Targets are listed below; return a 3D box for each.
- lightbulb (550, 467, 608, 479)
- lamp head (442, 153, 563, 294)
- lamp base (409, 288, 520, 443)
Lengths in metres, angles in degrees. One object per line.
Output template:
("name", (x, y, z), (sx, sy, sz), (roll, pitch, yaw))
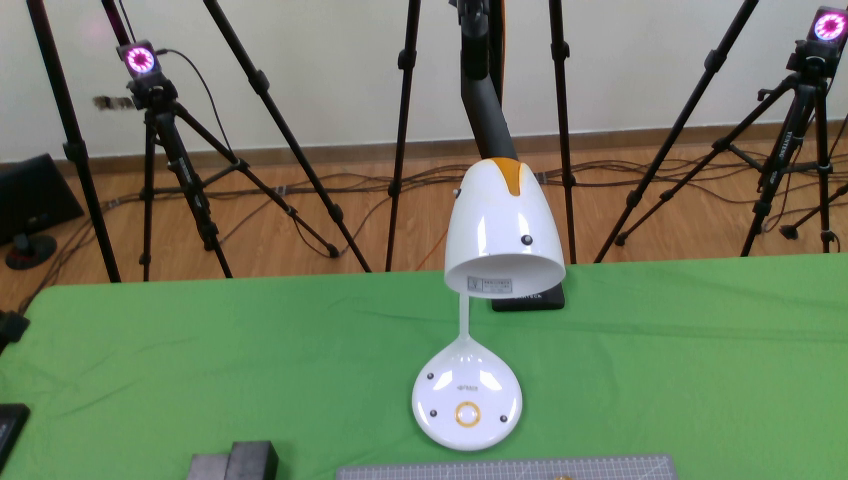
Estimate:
("lightbulb", (0.204, 0.317, 0.756), (0.106, 0.060, 0.059), (20, 48, 43))
("lamp head", (0.070, -0.018, 0.580), (0.112, 0.113, 0.122), (-3, 60, 1))
("lamp base", (0.052, 0.158, 0.835), (0.161, 0.182, 0.177), (-6, 43, -2))
